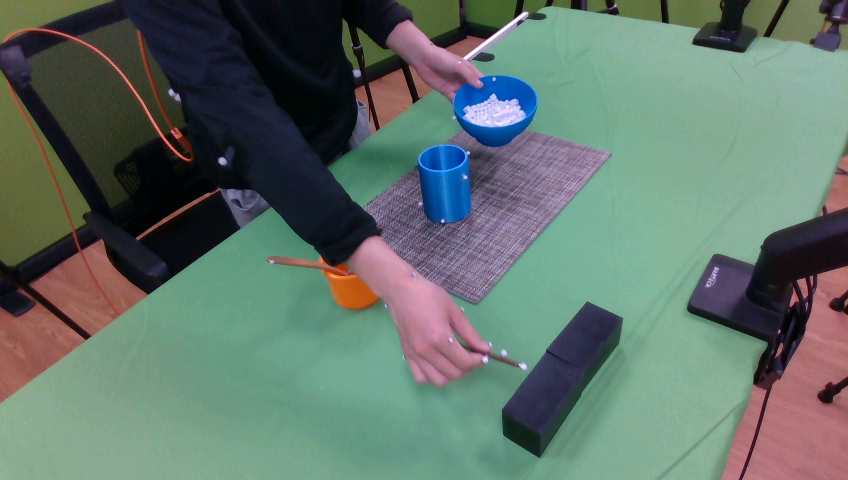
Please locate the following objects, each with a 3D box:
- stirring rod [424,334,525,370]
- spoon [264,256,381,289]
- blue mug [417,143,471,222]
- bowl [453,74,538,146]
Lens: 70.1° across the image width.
[{"bbox_3d":[0.054,0.130,0.715,0.014,0.006,0.174,12,-3,-36],"label":"stirring rod"},{"bbox_3d":[-0.136,0.042,0.842,0.041,0.195,0.021,43,106,43],"label":"spoon"},{"bbox_3d":[0.031,-0.104,1.014,0.082,0.106,0.115,-14,41,-7],"label":"blue mug"},{"bbox_3d":[0.128,-0.222,1.086,0.151,0.077,0.150,-3,50,4],"label":"bowl"}]
